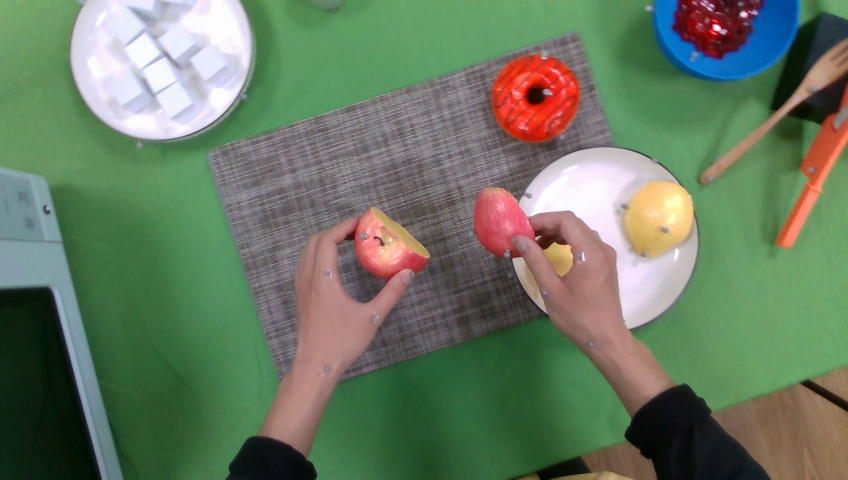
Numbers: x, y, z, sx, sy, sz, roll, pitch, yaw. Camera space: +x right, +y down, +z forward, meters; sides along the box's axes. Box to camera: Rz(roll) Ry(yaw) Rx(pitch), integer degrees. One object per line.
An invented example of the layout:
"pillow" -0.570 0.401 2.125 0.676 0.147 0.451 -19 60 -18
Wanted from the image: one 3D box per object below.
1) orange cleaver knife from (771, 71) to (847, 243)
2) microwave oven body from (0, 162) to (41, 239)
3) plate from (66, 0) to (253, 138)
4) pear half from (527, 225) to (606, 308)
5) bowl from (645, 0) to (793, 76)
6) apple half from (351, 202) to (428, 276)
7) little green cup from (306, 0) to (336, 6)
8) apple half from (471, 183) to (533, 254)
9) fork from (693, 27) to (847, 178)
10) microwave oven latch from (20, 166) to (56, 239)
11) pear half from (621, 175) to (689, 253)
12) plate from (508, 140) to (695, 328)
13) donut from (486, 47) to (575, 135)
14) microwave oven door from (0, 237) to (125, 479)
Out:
"orange cleaver knife" 0.429 -0.099 0.659 0.012 0.077 0.212 18 115 6
"microwave oven body" -0.536 0.167 0.576 0.326 0.260 0.441 -15 90 0
"plate" -0.296 -0.217 0.692 0.208 0.039 0.207 0 89 1
"pear half" 0.168 0.036 0.666 0.110 0.056 0.076 44 95 -5
"bowl" 0.308 -0.247 0.665 0.151 0.077 0.151 0 90 1
"apple half" -0.041 0.006 0.615 0.080 0.074 0.053 41 99 3
"little green cup" -0.120 -0.300 0.690 0.061 0.038 0.061 0 89 1
"apple half" 0.066 -0.016 0.582 0.033 0.081 0.081 -36 88 -23
"fork" 0.377 -0.143 0.658 0.028 0.018 0.207 40 110 -7
"microwave oven latch" -0.438 -0.040 0.673 0.030 0.029 0.079 -14 90 0
"pear half" 0.251 -0.028 0.665 0.070 0.031 0.088 18 101 25
"plate" 0.194 -0.007 0.680 0.209 0.038 0.209 0 90 0
"donut" 0.118 -0.166 0.679 0.099 0.048 0.099 0 90 4
"microwave oven door" -0.384 0.170 0.569 0.039 0.244 0.355 -16 89 0
